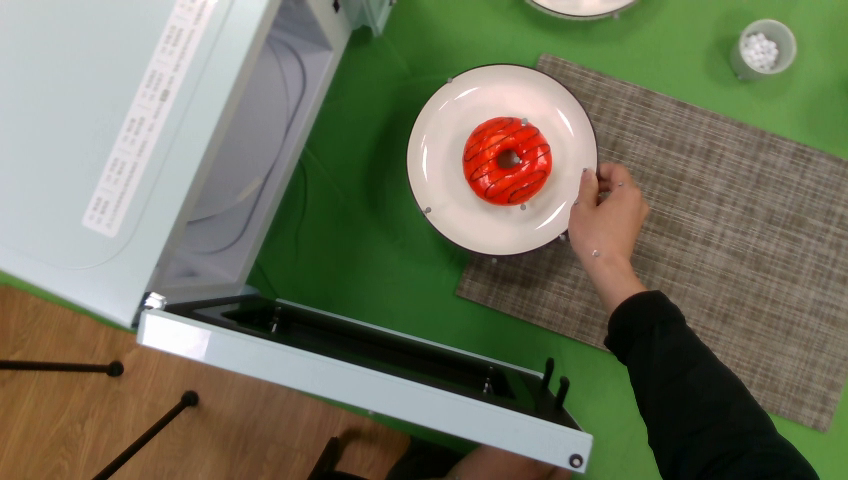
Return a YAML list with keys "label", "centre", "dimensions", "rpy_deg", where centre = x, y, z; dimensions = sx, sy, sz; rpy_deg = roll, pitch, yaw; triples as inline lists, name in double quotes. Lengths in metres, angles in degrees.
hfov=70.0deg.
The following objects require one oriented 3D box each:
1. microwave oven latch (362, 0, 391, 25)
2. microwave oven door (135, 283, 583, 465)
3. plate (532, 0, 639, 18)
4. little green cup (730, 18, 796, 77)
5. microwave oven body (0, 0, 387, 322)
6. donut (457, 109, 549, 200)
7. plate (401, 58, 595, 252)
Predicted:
- label: "microwave oven latch"
  centre: [-0.046, -0.287, 0.682]
  dimensions: [0.030, 0.029, 0.079]
  rpy_deg: [26, 90, 2]
- label: "microwave oven door"
  centre: [-0.046, 0.111, 0.573]
  dimensions: [0.356, 0.244, 0.039]
  rpy_deg: [15, 89, 2]
- label: "plate"
  centre: [0.185, -0.354, 0.695]
  dimensions: [0.207, 0.039, 0.207]
  rpy_deg: [0, 89, 2]
- label: "little green cup"
  centre: [0.381, -0.215, 0.686]
  dimensions: [0.061, 0.038, 0.061]
  rpy_deg: [0, 88, 2]
- label: "microwave oven body"
  centre: [-0.256, -0.186, 0.590]
  dimensions: [0.326, 0.260, 0.441]
  rpy_deg: [23, 90, 2]
- label: "donut"
  centre: [0.084, -0.091, 0.653]
  dimensions: [0.099, 0.048, 0.099]
  rpy_deg: [0, 90, 5]
- label: "plate"
  centre: [0.080, -0.091, 0.664]
  dimensions: [0.209, 0.038, 0.209]
  rpy_deg: [0, 90, 2]
